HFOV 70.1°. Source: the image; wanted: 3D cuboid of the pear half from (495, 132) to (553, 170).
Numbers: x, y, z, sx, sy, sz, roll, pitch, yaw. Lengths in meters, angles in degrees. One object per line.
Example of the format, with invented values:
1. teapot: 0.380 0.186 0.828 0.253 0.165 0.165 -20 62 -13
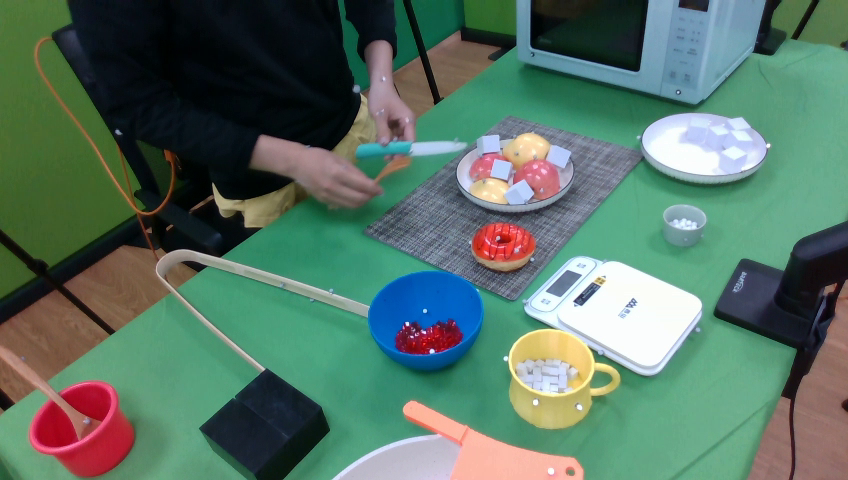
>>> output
1. pear half: 0.174 -0.167 1.094 0.109 0.056 0.076 15 53 30

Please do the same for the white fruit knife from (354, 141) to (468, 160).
1. white fruit knife: -0.025 -0.149 0.979 0.206 0.027 0.016 0 34 24

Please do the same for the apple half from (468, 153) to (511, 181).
1. apple half: 0.119 -0.138 1.088 0.081 0.033 0.081 -1 44 1

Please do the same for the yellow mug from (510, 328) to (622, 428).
1. yellow mug: 0.168 0.164 0.722 0.130 0.064 0.099 0 40 8

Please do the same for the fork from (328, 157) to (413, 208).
1. fork: -0.091 -0.089 0.957 0.206 0.019 0.028 -28 19 43

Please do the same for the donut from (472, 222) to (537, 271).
1. donut: 0.123 0.008 0.923 0.099 0.048 0.098 -3 38 3

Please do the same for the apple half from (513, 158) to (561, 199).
1. apple half: 0.193 -0.111 1.031 0.080 0.053 0.075 11 41 26

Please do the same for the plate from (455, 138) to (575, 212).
1. plate: 0.159 -0.111 1.063 0.209 0.038 0.208 -4 40 4

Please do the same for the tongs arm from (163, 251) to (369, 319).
1. tongs arm: -0.247 0.072 0.917 0.382 0.026 0.051 16 49 26

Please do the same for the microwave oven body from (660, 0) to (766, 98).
1. microwave oven body: 0.472 -0.513 1.317 0.438 0.261 0.327 26 51 34

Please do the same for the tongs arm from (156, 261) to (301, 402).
1. tongs arm: -0.294 0.122 0.869 0.384 0.028 0.028 28 59 36

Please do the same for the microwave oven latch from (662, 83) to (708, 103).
1. microwave oven latch: 0.517 -0.296 1.204 0.078 0.029 0.030 28 52 35

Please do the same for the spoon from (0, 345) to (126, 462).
1. spoon: -0.434 0.192 0.720 0.194 0.021 0.042 47 54 -7

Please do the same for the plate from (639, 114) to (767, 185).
1. plate: 0.489 -0.157 1.074 0.207 0.039 0.206 -4 40 4

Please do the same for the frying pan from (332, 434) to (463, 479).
1. frying pan: -0.089 0.306 0.564 0.487 0.103 0.306 10 41 7

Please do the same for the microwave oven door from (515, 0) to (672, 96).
1. microwave oven door: 0.343 -0.455 1.259 0.353 0.245 0.039 26 51 33

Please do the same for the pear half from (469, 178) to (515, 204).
1. pear half: 0.115 -0.090 1.036 0.087 0.031 0.071 28 38 32

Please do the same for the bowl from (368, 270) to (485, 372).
1. bowl: 0.007 0.118 0.791 0.151 0.077 0.150 -5 40 4

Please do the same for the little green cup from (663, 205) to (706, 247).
1. little green cup: 0.396 -0.020 0.926 0.061 0.039 0.061 -4 40 4

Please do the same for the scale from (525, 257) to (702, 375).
1. scale: 0.254 0.091 0.821 0.199 0.032 0.149 28 51 35

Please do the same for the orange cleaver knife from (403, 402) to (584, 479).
1. orange cleaver knife: 0.062 0.222 0.609 0.210 0.012 0.077 15 48 25
